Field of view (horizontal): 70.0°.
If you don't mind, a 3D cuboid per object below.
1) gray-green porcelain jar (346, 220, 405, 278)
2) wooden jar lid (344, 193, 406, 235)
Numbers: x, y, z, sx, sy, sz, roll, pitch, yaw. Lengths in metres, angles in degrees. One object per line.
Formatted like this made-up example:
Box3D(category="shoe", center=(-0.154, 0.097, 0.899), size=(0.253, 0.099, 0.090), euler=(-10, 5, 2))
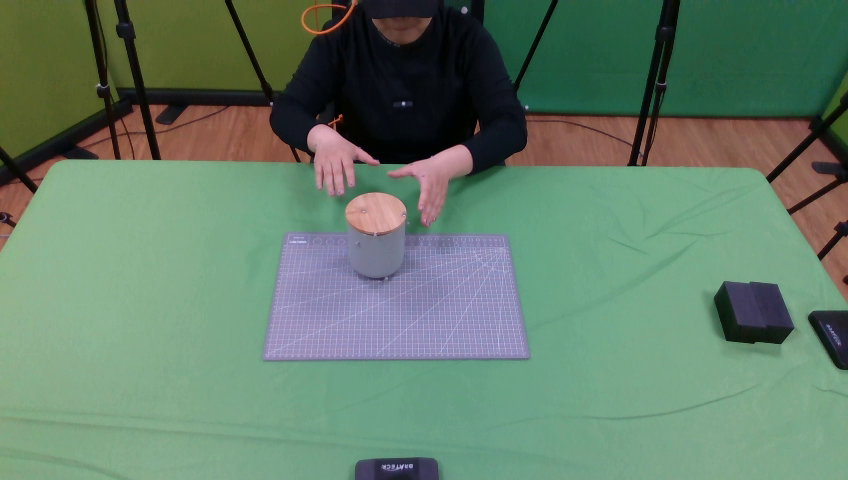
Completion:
Box3D(category="gray-green porcelain jar", center=(-0.089, 0.000, 1.116), size=(0.106, 0.127, 0.105), euler=(2, 46, -2))
Box3D(category="wooden jar lid", center=(-0.086, -0.043, 1.071), size=(0.108, 0.021, 0.107), euler=(3, 44, -3))
